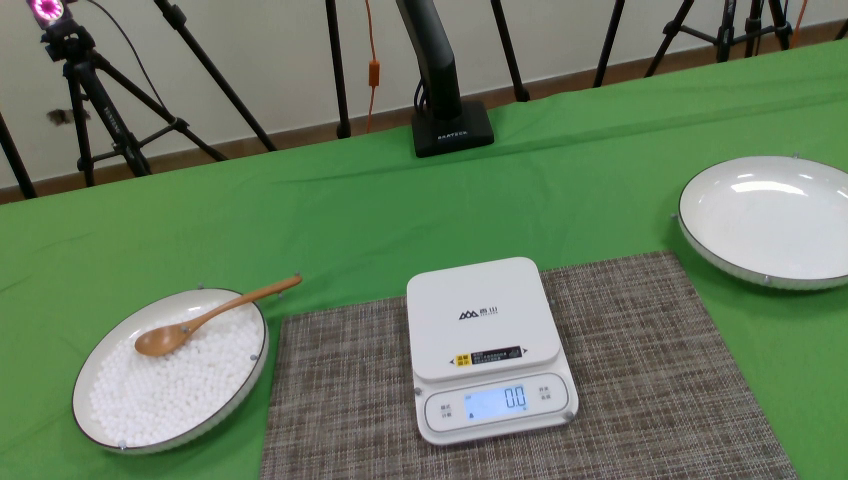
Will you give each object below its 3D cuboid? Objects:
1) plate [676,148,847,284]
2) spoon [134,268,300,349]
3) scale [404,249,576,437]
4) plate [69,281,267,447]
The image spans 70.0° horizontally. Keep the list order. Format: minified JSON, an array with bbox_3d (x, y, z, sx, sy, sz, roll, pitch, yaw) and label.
[{"bbox_3d":[0.383,-0.026,0.658,0.207,0.039,0.205,-7,42,7],"label":"plate"},{"bbox_3d":[-0.231,0.074,0.681,0.194,0.022,0.041,-26,43,-3],"label":"spoon"},{"bbox_3d":[0.058,0.094,0.609,0.148,0.032,0.198,-11,43,3],"label":"scale"},{"bbox_3d":[-0.268,0.131,0.653,0.209,0.038,0.207,-6,43,6],"label":"plate"}]
